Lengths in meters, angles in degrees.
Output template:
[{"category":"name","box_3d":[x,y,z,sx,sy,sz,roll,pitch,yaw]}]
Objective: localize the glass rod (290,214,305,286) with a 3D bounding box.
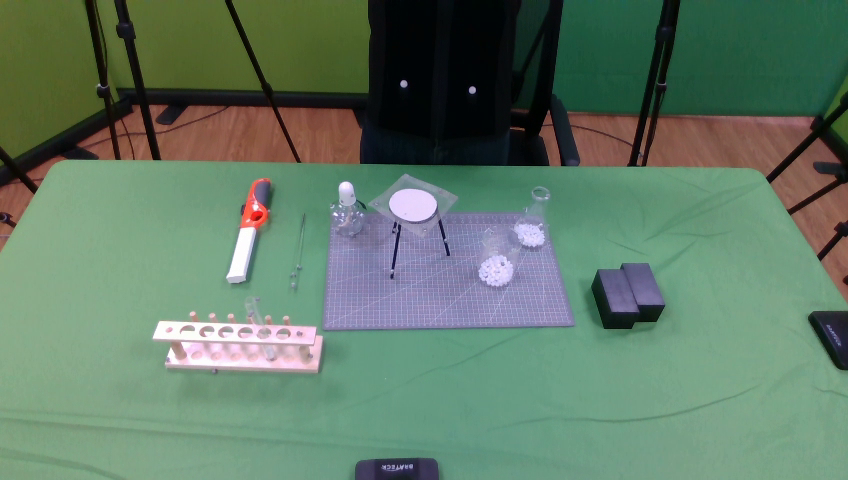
[{"category":"glass rod","box_3d":[-0.245,0.015,1.175,0.008,0.008,0.198,1,43,-3]}]

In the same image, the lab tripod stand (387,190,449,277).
[{"category":"lab tripod stand","box_3d":[-0.021,-0.018,1.135,0.148,0.132,0.147,3,44,-3]}]

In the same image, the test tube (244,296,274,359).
[{"category":"test tube","box_3d":[-0.253,0.138,0.934,0.017,0.151,0.017,-1,46,1]}]

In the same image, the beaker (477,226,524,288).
[{"category":"beaker","box_3d":[0.139,0.033,1.122,0.084,0.101,0.073,-12,48,-16]}]

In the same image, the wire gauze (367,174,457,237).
[{"category":"wire gauze","box_3d":[-0.020,-0.067,1.089,0.124,0.011,0.121,28,49,21]}]

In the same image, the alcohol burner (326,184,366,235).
[{"category":"alcohol burner","box_3d":[-0.152,-0.066,1.185,0.078,0.119,0.077,4,46,-4]}]

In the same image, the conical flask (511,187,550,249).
[{"category":"conical flask","box_3d":[0.217,-0.048,1.190,0.075,0.122,0.075,2,46,-2]}]

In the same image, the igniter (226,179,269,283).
[{"category":"igniter","box_3d":[-0.345,-0.027,1.195,0.057,0.025,0.274,-6,46,5]}]

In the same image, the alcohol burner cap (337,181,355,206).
[{"category":"alcohol burner cap","box_3d":[-0.151,-0.090,1.157,0.034,0.048,0.033,0,52,0]}]

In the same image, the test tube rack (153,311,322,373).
[{"category":"test tube rack","box_3d":[-0.293,0.160,0.978,0.242,0.085,0.066,3,46,-2]}]
